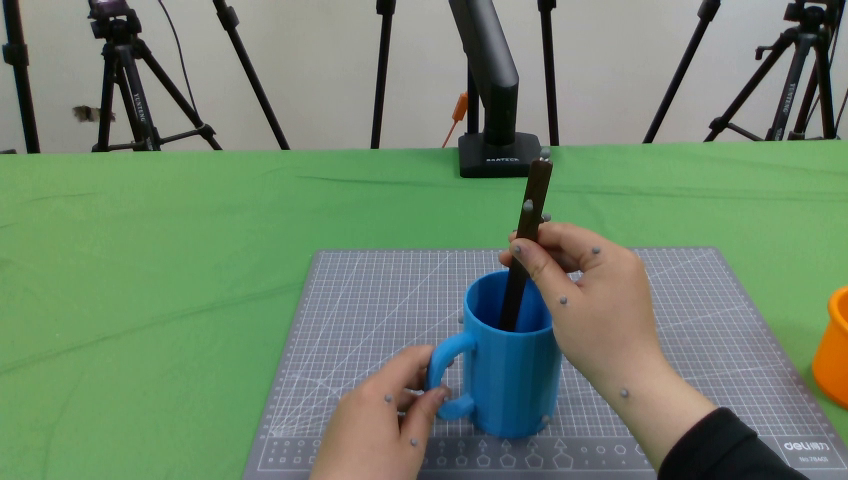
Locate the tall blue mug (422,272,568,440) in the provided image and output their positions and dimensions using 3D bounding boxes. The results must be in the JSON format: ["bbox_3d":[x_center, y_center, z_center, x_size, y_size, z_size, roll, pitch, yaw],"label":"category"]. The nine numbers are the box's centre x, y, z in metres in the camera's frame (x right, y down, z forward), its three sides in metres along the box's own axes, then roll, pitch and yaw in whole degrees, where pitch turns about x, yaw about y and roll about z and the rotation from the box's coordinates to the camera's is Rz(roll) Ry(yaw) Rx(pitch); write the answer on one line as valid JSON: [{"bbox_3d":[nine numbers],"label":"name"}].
[{"bbox_3d":[0.057,0.097,0.457,0.077,0.109,0.107,20,39,27],"label":"tall blue mug"}]

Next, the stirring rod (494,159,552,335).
[{"bbox_3d":[0.065,0.018,0.421,0.014,0.177,0.006,11,43,7],"label":"stirring rod"}]
